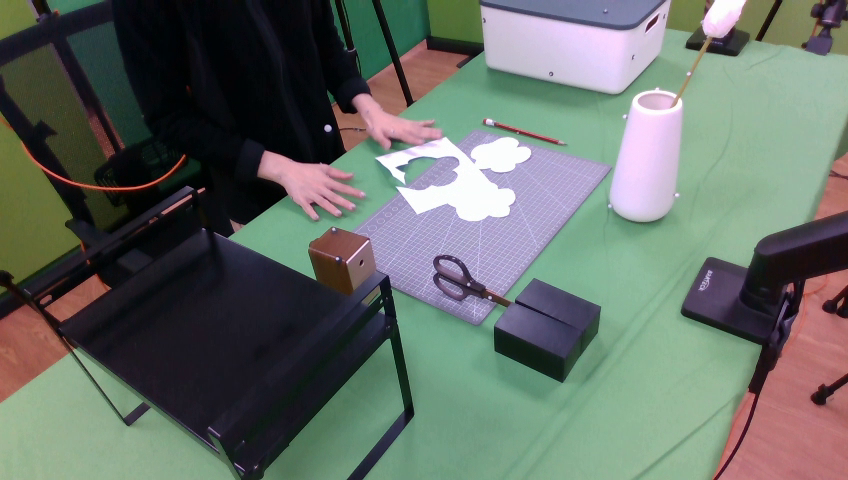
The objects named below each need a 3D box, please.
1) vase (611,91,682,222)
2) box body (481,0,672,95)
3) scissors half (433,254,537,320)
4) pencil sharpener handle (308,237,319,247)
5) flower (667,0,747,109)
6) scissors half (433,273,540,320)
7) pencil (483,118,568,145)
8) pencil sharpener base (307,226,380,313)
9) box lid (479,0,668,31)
[{"bbox_3d":[0.348,-0.125,0.935,0.098,0.201,0.097,-3,40,3],"label":"vase"},{"bbox_3d":[0.341,-0.480,1.381,0.361,0.161,0.255,22,48,30],"label":"box body"},{"bbox_3d":[0.083,0.065,0.827,0.174,0.040,0.013,31,51,23],"label":"scissors half"},{"bbox_3d":[-0.159,0.017,0.892,0.030,0.068,0.036,18,60,28],"label":"pencil sharpener handle"},{"bbox_3d":[0.354,-0.188,0.879,0.038,0.362,0.044,31,48,14],"label":"flower"},{"bbox_3d":[0.084,0.081,0.839,0.174,0.040,0.013,17,38,36],"label":"scissors half"},{"bbox_3d":[0.202,-0.217,1.212,0.192,0.012,0.012,24,49,29],"label":"pencil"},{"bbox_3d":[-0.116,0.043,0.875,0.076,0.107,0.061,18,47,28],"label":"pencil sharpener base"},{"bbox_3d":[0.335,-0.536,1.331,0.368,0.015,0.264,23,49,30],"label":"box lid"}]
